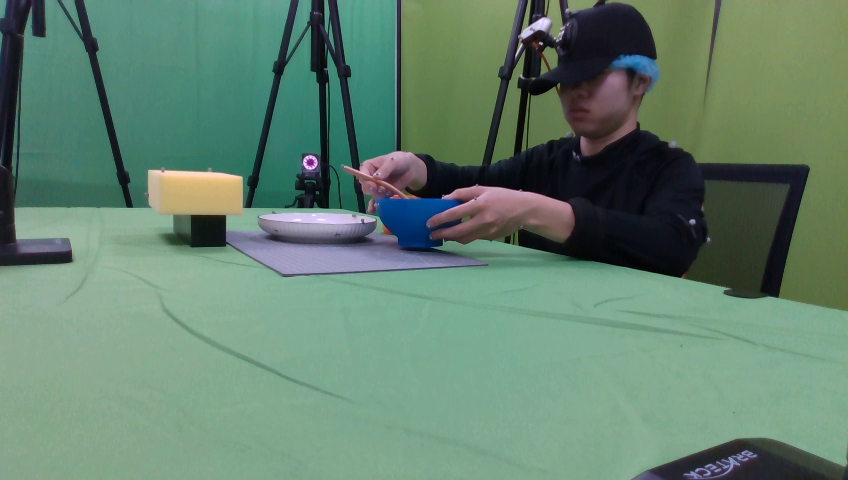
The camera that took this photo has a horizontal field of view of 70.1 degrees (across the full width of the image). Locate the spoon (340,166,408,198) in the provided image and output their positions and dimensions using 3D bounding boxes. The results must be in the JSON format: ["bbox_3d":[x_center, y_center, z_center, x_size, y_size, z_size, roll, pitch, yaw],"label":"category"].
[{"bbox_3d":[-0.054,-0.082,1.000,0.193,0.021,0.042,30,10,9],"label":"spoon"}]

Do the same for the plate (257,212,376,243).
[{"bbox_3d":[-0.189,-0.023,1.072,0.209,0.038,0.209,3,7,0],"label":"plate"}]

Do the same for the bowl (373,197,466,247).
[{"bbox_3d":[-0.008,-0.030,0.981,0.151,0.077,0.151,1,4,0],"label":"bowl"}]

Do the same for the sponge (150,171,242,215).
[{"bbox_3d":[-0.379,-0.079,0.994,0.119,0.061,0.206,-1,8,-29],"label":"sponge"}]
